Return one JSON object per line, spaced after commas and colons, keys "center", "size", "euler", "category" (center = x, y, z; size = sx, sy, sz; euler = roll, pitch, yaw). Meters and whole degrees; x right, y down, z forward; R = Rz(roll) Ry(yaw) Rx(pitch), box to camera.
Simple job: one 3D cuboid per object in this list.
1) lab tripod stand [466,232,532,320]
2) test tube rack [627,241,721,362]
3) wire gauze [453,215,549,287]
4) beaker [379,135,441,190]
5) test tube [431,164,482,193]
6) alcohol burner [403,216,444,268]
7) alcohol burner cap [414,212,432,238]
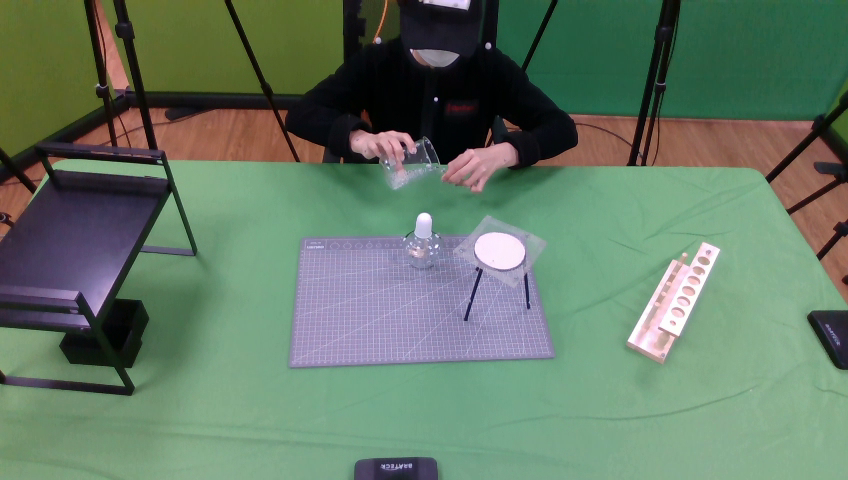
{"center": [0.125, 0.059, 1.065], "size": [0.148, 0.132, 0.147], "euler": [1, 45, 0], "category": "lab tripod stand"}
{"center": [0.452, 0.098, 1.087], "size": [0.066, 0.085, 0.242], "euler": [28, 51, 22], "category": "test tube rack"}
{"center": [0.129, 0.012, 1.017], "size": [0.124, 0.011, 0.121], "euler": [28, 50, 23], "category": "wire gauze"}
{"center": [-0.028, -0.143, 1.150], "size": [0.100, 0.084, 0.073], "euler": [-26, 55, -7], "category": "beaker"}
{"center": [0.069, -0.123, 1.238], "size": [0.151, 0.017, 0.017], "euler": [20, 30, -44], "category": "test tube"}
{"center": [-0.001, -0.004, 1.132], "size": [0.078, 0.120, 0.077], "euler": [1, 47, 0], "category": "alcohol burner"}
{"center": [0.000, -0.030, 1.107], "size": [0.034, 0.048, 0.033], "euler": [4, 41, -3], "category": "alcohol burner cap"}
